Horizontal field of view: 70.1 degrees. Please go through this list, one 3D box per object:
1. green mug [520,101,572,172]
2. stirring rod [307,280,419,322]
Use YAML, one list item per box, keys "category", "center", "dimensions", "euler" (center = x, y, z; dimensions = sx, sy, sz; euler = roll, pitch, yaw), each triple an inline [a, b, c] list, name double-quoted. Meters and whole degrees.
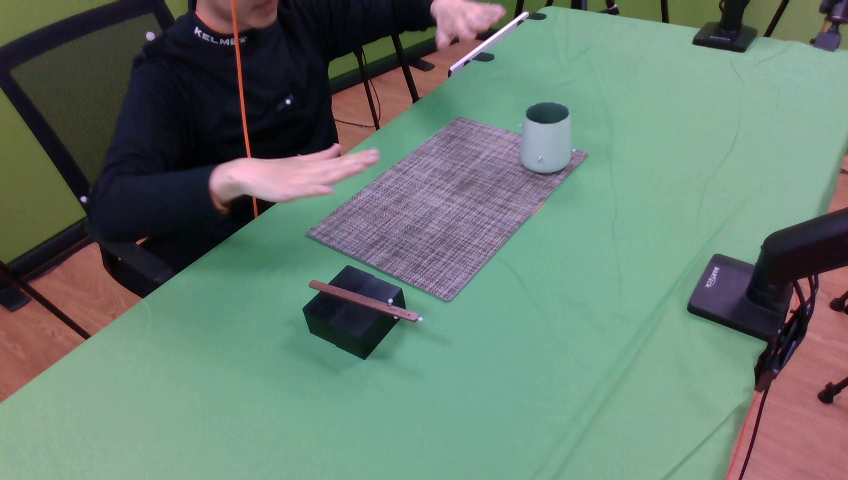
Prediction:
- category: "green mug"
  center: [0.220, -0.194, 1.093]
  dimensions: [0.092, 0.105, 0.125]
  euler: [-2, 41, 7]
- category: "stirring rod"
  center: [-0.086, 0.082, 0.822]
  dimensions: [0.175, 0.006, 0.014]
  euler: [15, 47, 23]
